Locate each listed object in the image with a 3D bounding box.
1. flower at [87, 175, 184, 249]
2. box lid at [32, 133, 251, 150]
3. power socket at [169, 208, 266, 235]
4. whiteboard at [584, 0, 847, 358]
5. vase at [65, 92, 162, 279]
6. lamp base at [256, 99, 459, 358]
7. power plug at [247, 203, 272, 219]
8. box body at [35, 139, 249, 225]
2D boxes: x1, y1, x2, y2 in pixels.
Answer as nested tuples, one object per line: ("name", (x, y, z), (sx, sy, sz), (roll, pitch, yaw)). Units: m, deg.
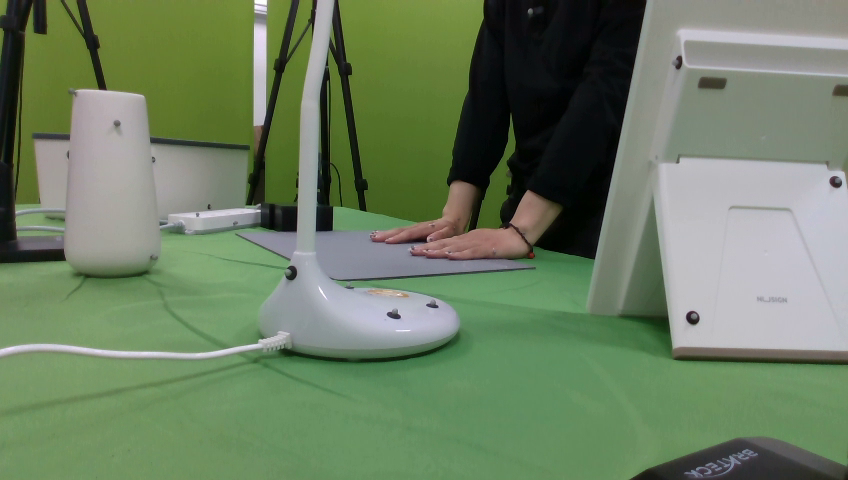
("flower", (-0.610, -0.063, 1.291), (0.044, 0.038, 0.361), (-5, 25, 9))
("box lid", (-0.558, -0.200, 1.250), (0.263, 0.015, 0.372), (5, 8, 13))
("power socket", (-0.379, -0.038, 1.130), (0.072, 0.032, 0.227), (4, 8, 18))
("whiteboard", (0.269, -0.034, 0.466), (0.217, 0.305, 0.143), (2, 27, -1))
("vase", (-0.347, -0.060, 0.673), (0.098, 0.200, 0.098), (1, 7, 0))
("lamp base", (-0.055, -0.013, 0.463), (0.160, 0.180, 0.180), (6, 11, 27))
("power plug", (-0.361, -0.049, 1.289), (0.052, 0.035, 0.072), (15, 53, 29))
("box body", (-0.561, -0.127, 1.258), (0.254, 0.160, 0.365), (4, 8, 13))
